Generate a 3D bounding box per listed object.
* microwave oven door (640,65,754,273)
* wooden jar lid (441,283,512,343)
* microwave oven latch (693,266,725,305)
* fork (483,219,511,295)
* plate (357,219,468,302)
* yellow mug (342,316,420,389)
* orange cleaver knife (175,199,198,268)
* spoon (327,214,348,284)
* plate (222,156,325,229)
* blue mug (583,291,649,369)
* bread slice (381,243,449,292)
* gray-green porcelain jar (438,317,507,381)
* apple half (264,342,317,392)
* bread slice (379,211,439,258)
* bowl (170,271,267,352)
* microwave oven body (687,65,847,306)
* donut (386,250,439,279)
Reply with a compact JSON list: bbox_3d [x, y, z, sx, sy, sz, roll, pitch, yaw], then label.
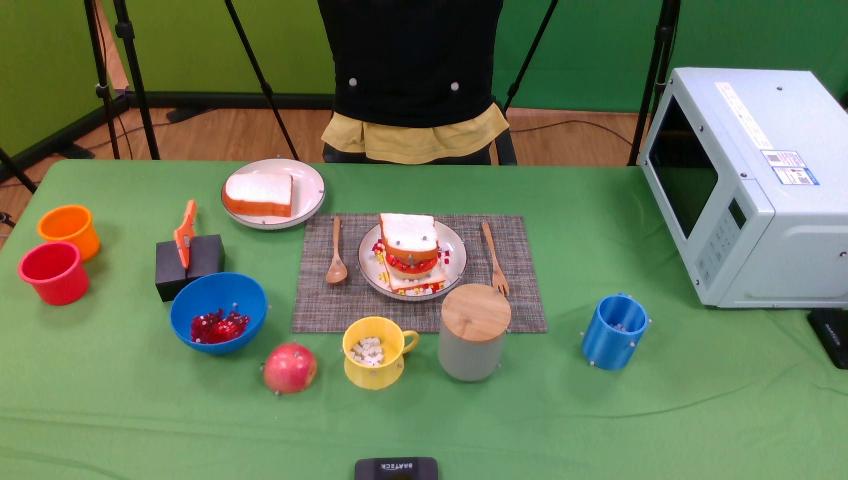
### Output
[{"bbox_3d":[0.523,-0.147,1.193,0.039,0.245,0.353,0,47,-3],"label":"microwave oven door"},{"bbox_3d":[0.080,0.114,0.931,0.108,0.021,0.107,1,49,0],"label":"wooden jar lid"},{"bbox_3d":[0.523,0.082,1.115,0.030,0.029,0.078,3,46,0],"label":"microwave oven latch"},{"bbox_3d":[0.137,0.029,1.172,0.028,0.019,0.206,-12,48,3],"label":"fork"},{"bbox_3d":[-0.021,0.037,1.141,0.208,0.039,0.206,2,46,-2],"label":"plate"},{"bbox_3d":[-0.067,0.178,0.990,0.131,0.064,0.099,-16,49,-19],"label":"yellow mug"},{"bbox_3d":[-0.438,-0.017,1.138,0.012,0.077,0.210,-13,27,-7],"label":"orange cleaver knife"},{"bbox_3d":[-0.167,0.012,1.164,0.041,0.022,0.192,-18,47,11],"label":"spoon"},{"bbox_3d":[-0.308,-0.095,1.251,0.209,0.038,0.208,2,47,-2],"label":"plate"},{"bbox_3d":[0.324,0.142,1.023,0.082,0.106,0.116,15,47,11],"label":"blue mug"},{"bbox_3d":[-0.026,0.039,1.139,0.107,0.018,0.133,-12,47,-16],"label":"bread slice"},{"bbox_3d":[0.076,0.158,0.977,0.106,0.127,0.105,2,47,-2],"label":"gray-green porcelain jar"},{"bbox_3d":[-0.214,0.198,0.970,0.074,0.053,0.080,19,48,11],"label":"apple half"},{"bbox_3d":[-0.024,-0.012,1.064,0.105,0.019,0.130,3,33,-10],"label":"bread slice"},{"bbox_3d":[-0.333,0.132,1.006,0.151,0.077,0.150,2,46,-2],"label":"bowl"},{"bbox_3d":[0.669,-0.111,1.176,0.326,0.261,0.439,0,46,-3],"label":"microwave oven body"},{"bbox_3d":[-0.021,0.028,1.110,0.099,0.048,0.098,2,45,-2],"label":"donut"}]
